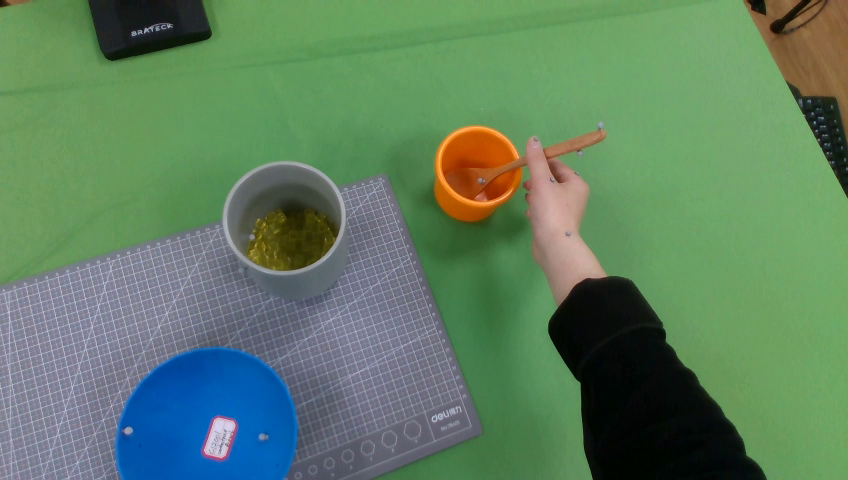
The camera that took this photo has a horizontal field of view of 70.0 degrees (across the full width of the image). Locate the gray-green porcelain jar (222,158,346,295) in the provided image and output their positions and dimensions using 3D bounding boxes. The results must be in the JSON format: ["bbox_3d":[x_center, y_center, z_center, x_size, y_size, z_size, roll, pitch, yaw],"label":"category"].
[{"bbox_3d":[-0.128,-0.006,0.583,0.106,0.127,0.105,2,74,-7],"label":"gray-green porcelain jar"}]

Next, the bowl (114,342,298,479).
[{"bbox_3d":[-0.188,0.173,0.551,0.152,0.077,0.150,2,74,-7],"label":"bowl"}]

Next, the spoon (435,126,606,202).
[{"bbox_3d":[0.093,-0.079,0.624,0.022,0.193,0.041,10,68,-51],"label":"spoon"}]
